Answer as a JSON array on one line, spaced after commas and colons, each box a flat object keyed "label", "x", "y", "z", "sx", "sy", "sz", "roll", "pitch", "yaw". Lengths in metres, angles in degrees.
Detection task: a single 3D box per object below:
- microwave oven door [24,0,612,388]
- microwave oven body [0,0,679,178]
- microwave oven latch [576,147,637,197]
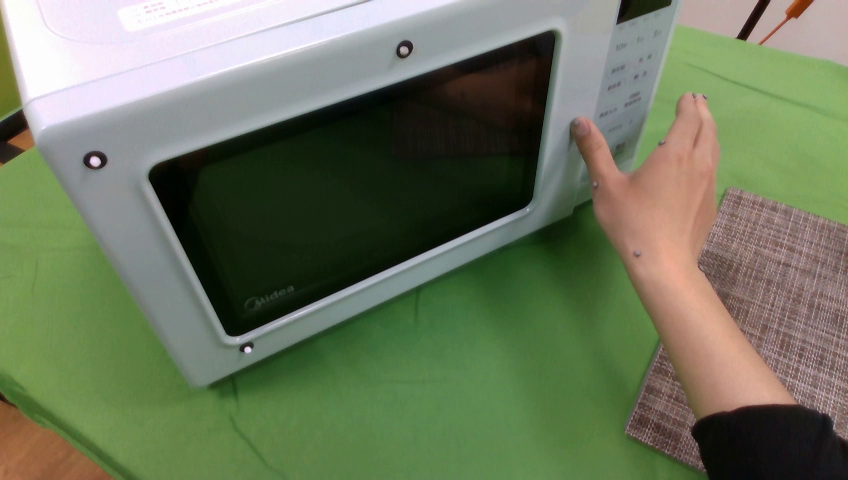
[{"label": "microwave oven door", "x": -0.029, "y": -0.046, "z": 0.425, "sx": 0.356, "sy": 0.246, "sz": 0.039, "roll": -25, "pitch": 51, "yaw": -18}, {"label": "microwave oven body", "x": -0.070, "y": -0.152, "z": 0.529, "sx": 0.442, "sy": 0.262, "sz": 0.322, "roll": -26, "pitch": 53, "yaw": -18}, {"label": "microwave oven latch", "x": 0.162, "y": -0.068, "z": 0.573, "sx": 0.079, "sy": 0.030, "sz": 0.030, "roll": -24, "pitch": 52, "yaw": -17}]
